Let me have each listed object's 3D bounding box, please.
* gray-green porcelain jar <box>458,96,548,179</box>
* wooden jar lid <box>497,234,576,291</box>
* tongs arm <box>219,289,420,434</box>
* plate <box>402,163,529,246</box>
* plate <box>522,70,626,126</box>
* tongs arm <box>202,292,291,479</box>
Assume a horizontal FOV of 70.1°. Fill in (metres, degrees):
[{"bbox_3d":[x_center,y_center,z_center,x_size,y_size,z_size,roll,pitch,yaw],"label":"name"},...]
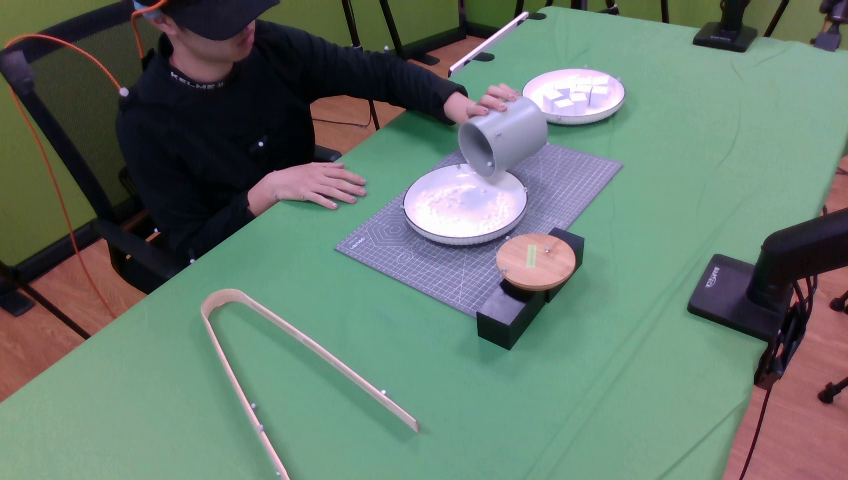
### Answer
[{"bbox_3d":[0.138,-0.179,1.031,0.127,0.106,0.105,-31,45,-20],"label":"gray-green porcelain jar"},{"bbox_3d":[0.155,0.032,0.834,0.108,0.021,0.108,-5,40,4],"label":"wooden jar lid"},{"bbox_3d":[-0.152,0.151,0.812,0.384,0.028,0.028,26,53,33],"label":"tongs arm"},{"bbox_3d":[0.069,-0.056,1.008,0.209,0.038,0.208,-4,40,4],"label":"plate"},{"bbox_3d":[0.308,-0.289,1.250,0.207,0.039,0.206,-4,40,4],"label":"plate"},{"bbox_3d":[-0.216,0.187,0.772,0.051,0.026,0.381,-27,43,-24],"label":"tongs arm"}]
